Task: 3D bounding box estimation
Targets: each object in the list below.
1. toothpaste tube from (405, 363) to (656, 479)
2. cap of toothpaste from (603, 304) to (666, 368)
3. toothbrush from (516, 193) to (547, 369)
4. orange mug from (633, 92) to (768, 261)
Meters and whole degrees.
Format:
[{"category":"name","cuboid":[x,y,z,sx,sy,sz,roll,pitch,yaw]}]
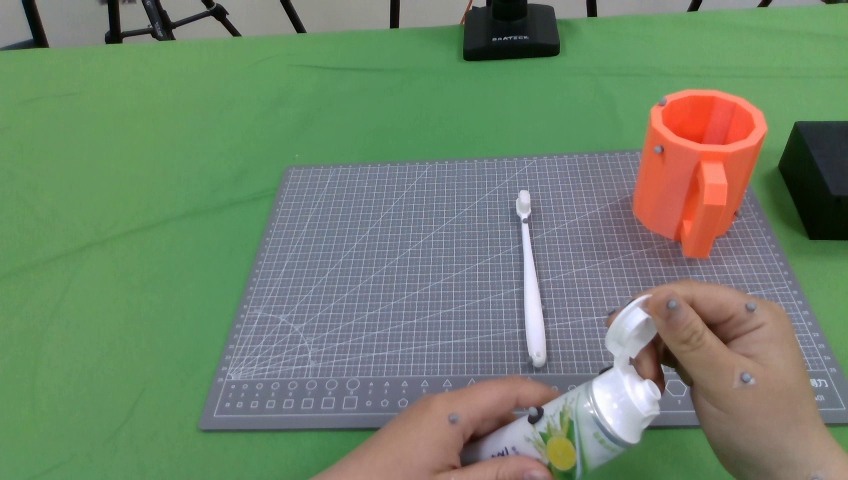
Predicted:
[{"category":"toothpaste tube","cuboid":[0.053,0.116,0.325,0.035,0.165,0.054,-5,56,-55]},{"category":"cap of toothpaste","cuboid":[0.104,0.047,0.295,0.037,0.038,0.011,-22,41,-15]},{"category":"toothbrush","cuboid":[0.088,0.025,0.496,0.014,0.017,0.180,6,47,-3]},{"category":"orange mug","cuboid":[0.223,-0.048,0.494,0.083,0.102,0.125,4,42,12]}]
